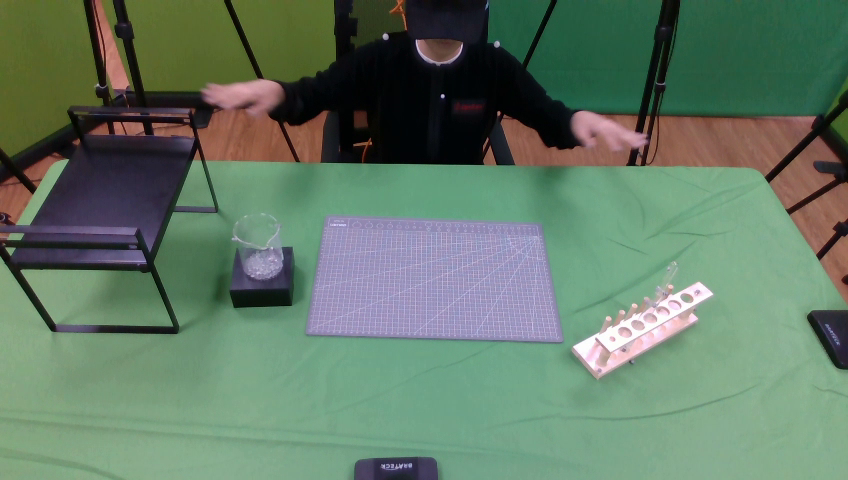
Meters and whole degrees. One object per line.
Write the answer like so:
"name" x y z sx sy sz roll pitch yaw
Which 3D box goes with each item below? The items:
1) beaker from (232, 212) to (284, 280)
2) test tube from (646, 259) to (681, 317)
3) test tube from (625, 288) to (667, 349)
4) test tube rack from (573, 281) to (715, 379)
"beaker" -0.280 0.016 1.037 0.074 0.101 0.083 -18 50 -20
"test tube" 0.406 0.083 1.033 0.017 0.151 0.017 1 48 -1
"test tube" 0.355 0.130 0.976 0.017 0.151 0.017 5 45 -5
"test tube rack" 0.378 0.140 1.038 0.242 0.085 0.066 -22 51 -23
